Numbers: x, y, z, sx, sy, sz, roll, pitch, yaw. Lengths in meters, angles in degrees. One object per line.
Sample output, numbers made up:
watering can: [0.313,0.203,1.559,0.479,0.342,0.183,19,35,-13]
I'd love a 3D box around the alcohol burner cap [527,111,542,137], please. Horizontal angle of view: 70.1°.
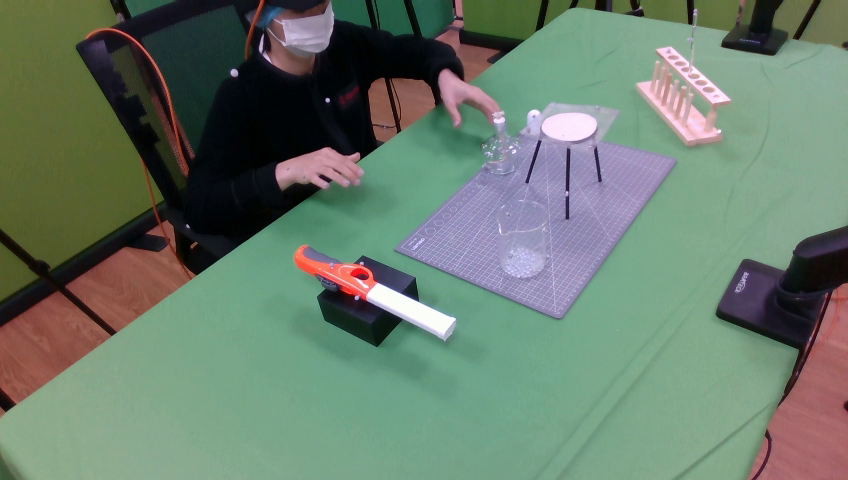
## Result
alcohol burner cap: [0.220,-0.233,1.200,0.034,0.048,0.033,-5,41,5]

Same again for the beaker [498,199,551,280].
beaker: [0.144,0.003,0.884,0.073,0.101,0.084,28,52,36]

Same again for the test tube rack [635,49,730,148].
test tube rack: [0.497,-0.283,1.185,0.067,0.085,0.240,-10,40,-2]

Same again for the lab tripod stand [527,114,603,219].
lab tripod stand: [0.234,-0.129,1.002,0.148,0.132,0.147,-6,40,6]

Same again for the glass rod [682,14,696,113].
glass rod: [0.495,-0.326,1.132,0.008,0.201,0.008,-8,42,8]

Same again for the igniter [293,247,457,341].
igniter: [-0.078,0.068,0.830,0.274,0.025,0.057,22,48,27]

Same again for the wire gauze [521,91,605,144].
wire gauze: [0.219,-0.191,0.948,0.121,0.011,0.125,8,49,13]

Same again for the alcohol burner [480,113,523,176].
alcohol burner: [0.139,-0.176,1.089,0.078,0.119,0.077,-5,42,5]
